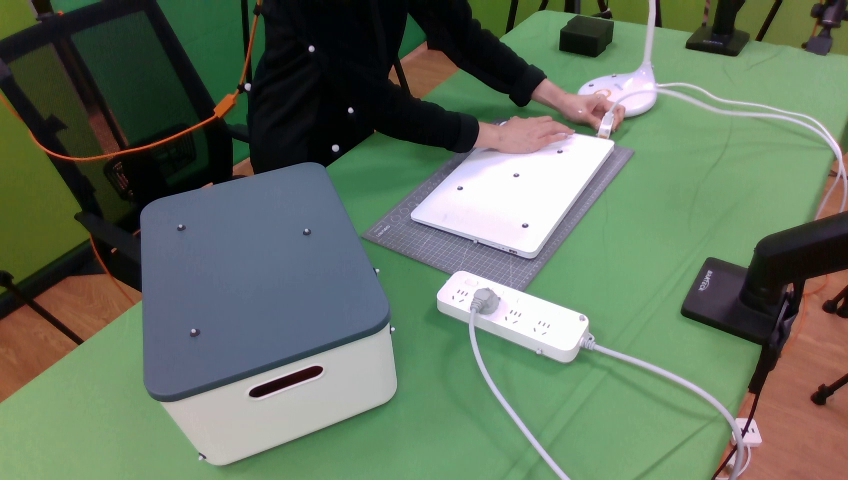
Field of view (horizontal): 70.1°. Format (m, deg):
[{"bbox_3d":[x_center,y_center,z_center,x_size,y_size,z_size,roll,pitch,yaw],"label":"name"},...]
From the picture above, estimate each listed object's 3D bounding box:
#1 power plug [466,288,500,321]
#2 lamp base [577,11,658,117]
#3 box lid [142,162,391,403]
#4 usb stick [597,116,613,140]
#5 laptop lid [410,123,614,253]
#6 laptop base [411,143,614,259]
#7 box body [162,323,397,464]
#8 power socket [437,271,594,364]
[{"bbox_3d":[0.072,0.093,0.813,0.035,0.053,0.073,30,55,35],"label":"power plug"},{"bbox_3d":[0.407,-0.365,1.224,0.180,0.181,0.159,-20,42,-18],"label":"lamp base"},{"bbox_3d":[-0.212,0.025,0.752,0.264,0.015,0.368,-17,41,-13],"label":"box lid"},{"bbox_3d":[0.347,-0.210,1.160,0.021,0.027,0.059,16,51,14],"label":"usb stick"},{"bbox_3d":[0.164,-0.111,1.069,0.240,0.013,0.357,19,46,31],"label":"laptop lid"},{"bbox_3d":[0.167,-0.102,1.075,0.234,0.023,0.355,16,46,30],"label":"laptop base"},{"bbox_3d":[-0.205,0.080,0.802,0.255,0.161,0.361,-18,41,-13],"label":"box body"},{"bbox_3d":[0.118,0.102,0.830,0.225,0.033,0.072,20,48,28],"label":"power socket"}]
